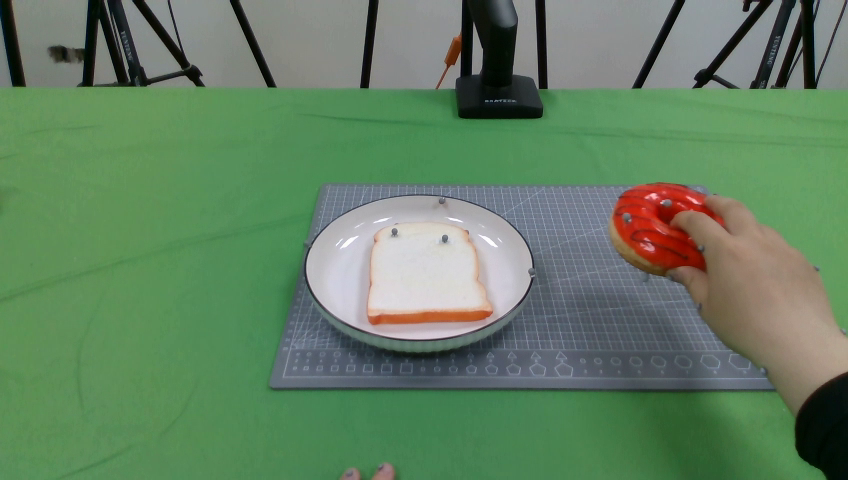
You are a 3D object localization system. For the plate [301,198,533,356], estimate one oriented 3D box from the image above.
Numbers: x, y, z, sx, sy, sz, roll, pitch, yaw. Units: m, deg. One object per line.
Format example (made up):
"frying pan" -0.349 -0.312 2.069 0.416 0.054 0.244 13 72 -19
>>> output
"plate" -0.006 0.033 0.558 0.209 0.038 0.207 1 37 0

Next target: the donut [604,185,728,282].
"donut" 0.202 -0.006 0.506 0.099 0.048 0.098 1 46 0

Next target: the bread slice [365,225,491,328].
"bread slice" -0.004 0.031 0.563 0.107 0.018 0.133 -3 38 -7
